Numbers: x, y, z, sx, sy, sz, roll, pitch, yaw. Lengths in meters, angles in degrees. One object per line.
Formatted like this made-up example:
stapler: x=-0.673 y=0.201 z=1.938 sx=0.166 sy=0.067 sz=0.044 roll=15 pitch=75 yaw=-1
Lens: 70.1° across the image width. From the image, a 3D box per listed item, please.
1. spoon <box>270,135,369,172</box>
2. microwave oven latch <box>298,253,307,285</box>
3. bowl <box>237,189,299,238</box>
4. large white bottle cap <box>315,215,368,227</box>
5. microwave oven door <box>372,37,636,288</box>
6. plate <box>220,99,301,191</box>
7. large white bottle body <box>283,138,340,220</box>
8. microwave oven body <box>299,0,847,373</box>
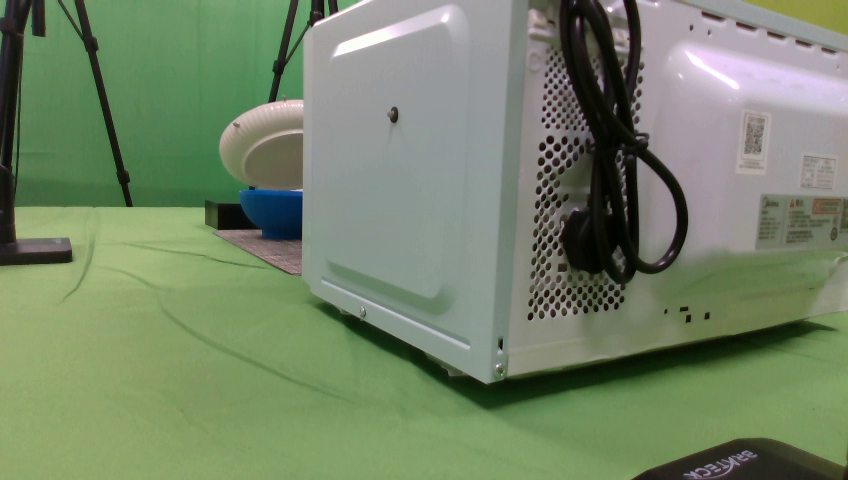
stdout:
spoon: x=-0.174 y=-0.154 z=1.038 sx=0.194 sy=0.041 sz=0.021 roll=-20 pitch=6 yaw=-30
microwave oven latch: x=-0.081 y=0.027 z=0.582 sx=0.079 sy=0.029 sz=0.030 roll=-1 pitch=7 yaw=-32
bowl: x=-0.245 y=-0.046 z=1.053 sx=0.151 sy=0.077 sz=0.151 roll=3 pitch=8 yaw=0
large white bottle cap: x=-0.177 y=-0.041 z=1.309 sx=0.115 sy=0.018 sz=0.115 roll=2 pitch=6 yaw=0
microwave oven door: x=0.110 y=-0.080 z=0.686 sx=0.358 sy=0.243 sz=0.039 roll=-2 pitch=9 yaw=-33
plate: x=-0.204 y=-0.133 z=0.931 sx=0.209 sy=0.038 sz=0.209 roll=-15 pitch=-25 yaw=-7
large white bottle body: x=-0.265 y=-0.144 z=1.424 sx=0.131 sy=0.184 sz=0.130 roll=2 pitch=7 yaw=0
microwave oven body: x=0.151 y=-0.055 z=0.542 sx=0.444 sy=0.260 sz=0.324 roll=-2 pitch=7 yaw=-33
